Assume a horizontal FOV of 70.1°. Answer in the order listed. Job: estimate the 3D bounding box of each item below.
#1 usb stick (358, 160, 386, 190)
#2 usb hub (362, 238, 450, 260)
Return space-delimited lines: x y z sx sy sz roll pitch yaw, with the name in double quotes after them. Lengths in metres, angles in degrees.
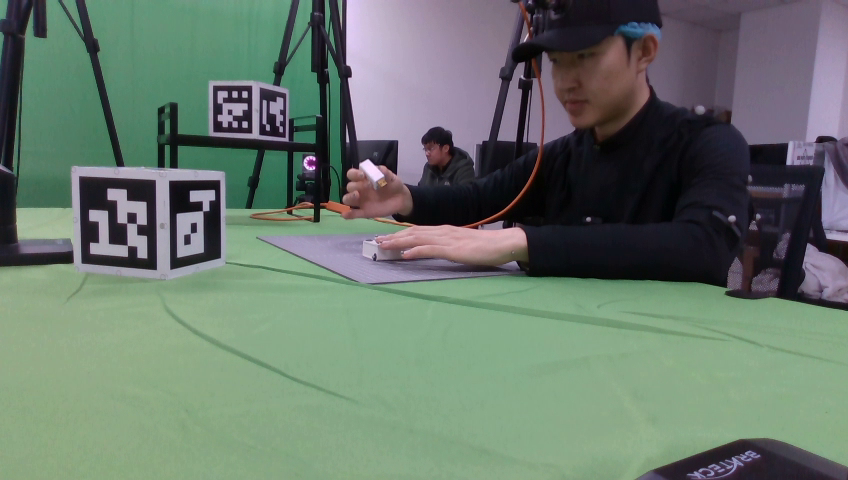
-0.085 -0.104 1.009 0.021 0.027 0.059 -35 66 -20 "usb stick"
-0.026 0.012 0.894 0.126 0.025 0.049 -2 7 -32 "usb hub"
